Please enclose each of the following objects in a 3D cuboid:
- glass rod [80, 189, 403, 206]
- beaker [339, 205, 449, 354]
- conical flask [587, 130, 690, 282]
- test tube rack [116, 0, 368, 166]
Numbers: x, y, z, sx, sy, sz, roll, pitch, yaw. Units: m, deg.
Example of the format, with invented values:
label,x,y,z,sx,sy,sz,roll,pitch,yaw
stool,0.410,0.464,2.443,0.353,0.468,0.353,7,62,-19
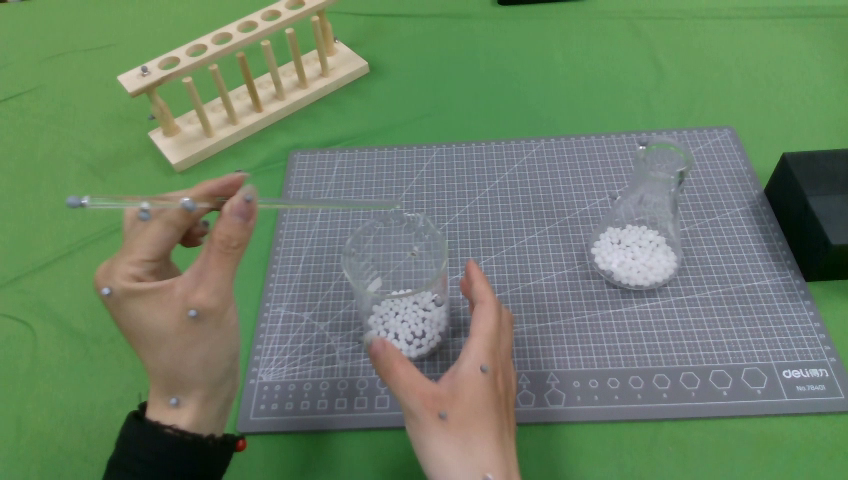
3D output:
label,x,y,z,sx,sy,sz,roll,pitch,yaw
glass rod,-0.090,-0.024,0.358,0.201,0.008,0.008,-2,42,-42
beaker,-0.017,0.032,0.455,0.073,0.101,0.083,19,56,18
conical flask,0.172,-0.028,0.470,0.075,0.123,0.074,-2,53,3
test tube rack,-0.182,-0.184,0.644,0.242,0.086,0.066,-35,57,-20
